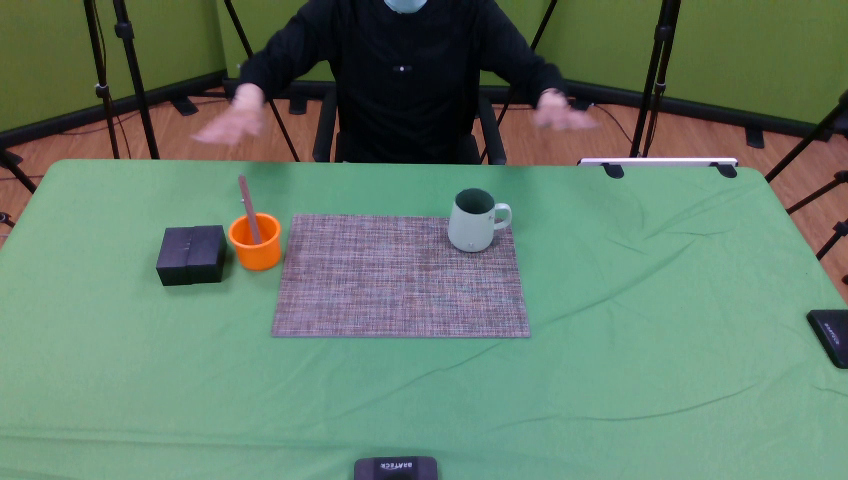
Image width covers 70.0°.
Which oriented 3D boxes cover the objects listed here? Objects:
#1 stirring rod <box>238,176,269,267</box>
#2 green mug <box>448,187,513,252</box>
[{"bbox_3d":[-0.318,-0.035,1.127,0.014,0.006,0.176,-15,90,-14],"label":"stirring rod"},{"bbox_3d":[0.111,-0.041,1.179,0.125,0.105,0.092,-7,47,-10],"label":"green mug"}]
